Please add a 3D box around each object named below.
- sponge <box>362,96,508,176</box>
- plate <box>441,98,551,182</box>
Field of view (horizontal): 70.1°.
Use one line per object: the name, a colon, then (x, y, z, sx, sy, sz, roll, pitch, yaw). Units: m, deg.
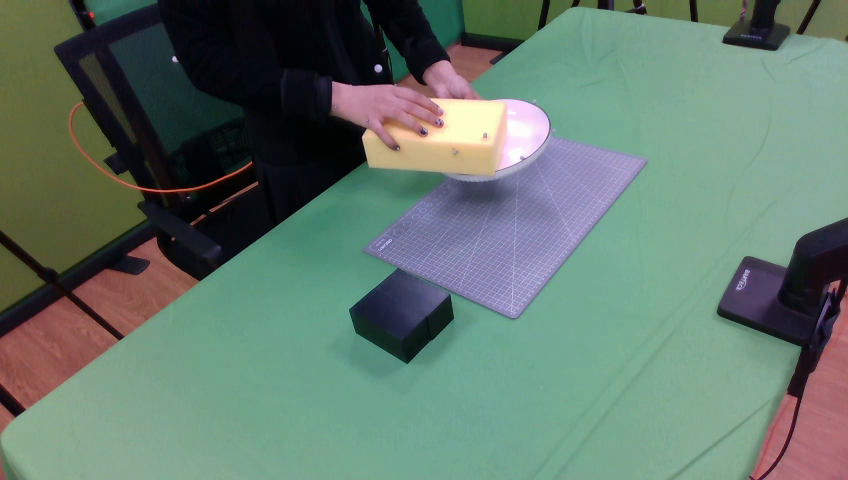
sponge: (0.021, -0.167, 0.960, 0.206, 0.061, 0.118, 6, 47, 13)
plate: (0.108, -0.163, 1.012, 0.209, 0.038, 0.208, -10, 44, 10)
